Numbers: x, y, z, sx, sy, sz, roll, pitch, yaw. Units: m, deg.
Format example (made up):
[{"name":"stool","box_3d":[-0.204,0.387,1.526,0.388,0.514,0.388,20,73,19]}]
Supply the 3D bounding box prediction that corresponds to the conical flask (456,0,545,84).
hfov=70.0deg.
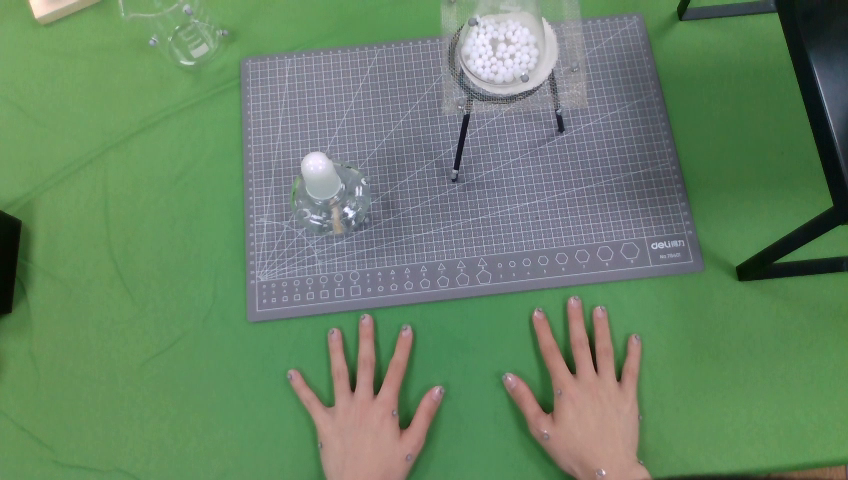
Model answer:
[{"name":"conical flask","box_3d":[0.062,-0.180,0.461,0.075,0.122,0.075,0,73,2]}]

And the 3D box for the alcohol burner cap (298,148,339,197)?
[{"name":"alcohol burner cap","box_3d":[-0.095,-0.063,0.536,0.034,0.048,0.033,0,67,0]}]

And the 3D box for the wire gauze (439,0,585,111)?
[{"name":"wire gauze","box_3d":[0.073,-0.167,0.519,0.121,0.011,0.124,0,72,0]}]

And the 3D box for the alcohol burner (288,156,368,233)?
[{"name":"alcohol burner","box_3d":[-0.093,-0.050,0.570,0.078,0.120,0.077,0,72,1]}]

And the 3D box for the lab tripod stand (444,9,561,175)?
[{"name":"lab tripod stand","box_3d":[0.069,-0.144,0.581,0.148,0.132,0.147,0,72,1]}]

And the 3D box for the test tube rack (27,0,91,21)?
[{"name":"test tube rack","box_3d":[-0.354,-0.346,0.683,0.242,0.085,0.066,-26,74,-5]}]

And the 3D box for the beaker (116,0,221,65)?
[{"name":"beaker","box_3d":[-0.267,-0.239,0.641,0.073,0.101,0.084,40,79,13]}]
